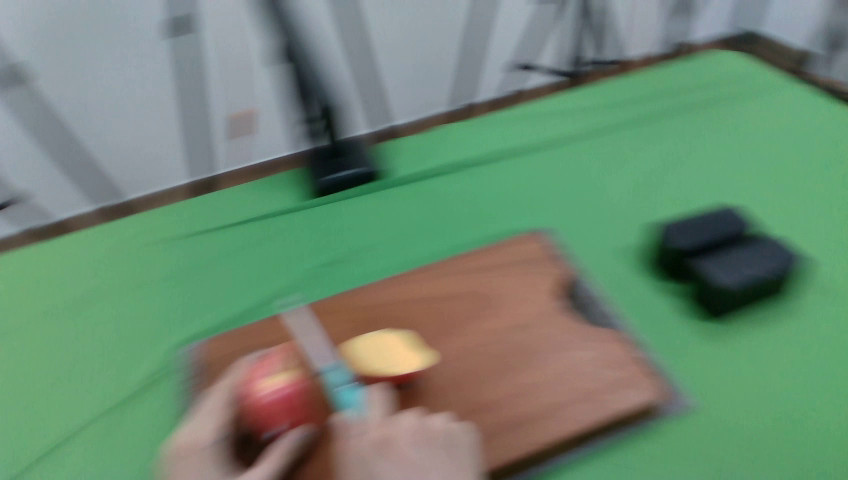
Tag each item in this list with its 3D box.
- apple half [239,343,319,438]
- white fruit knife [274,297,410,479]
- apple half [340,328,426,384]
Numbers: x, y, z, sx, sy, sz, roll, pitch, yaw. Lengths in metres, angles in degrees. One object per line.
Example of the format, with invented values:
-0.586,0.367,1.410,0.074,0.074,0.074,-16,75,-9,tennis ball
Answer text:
-0.132,0.139,0.534,0.053,0.075,0.080,-28,46,-17,apple half
-0.072,0.106,0.467,0.016,0.027,0.205,-20,44,-31,white fruit knife
-0.042,0.116,0.571,0.081,0.033,0.081,8,21,-3,apple half
